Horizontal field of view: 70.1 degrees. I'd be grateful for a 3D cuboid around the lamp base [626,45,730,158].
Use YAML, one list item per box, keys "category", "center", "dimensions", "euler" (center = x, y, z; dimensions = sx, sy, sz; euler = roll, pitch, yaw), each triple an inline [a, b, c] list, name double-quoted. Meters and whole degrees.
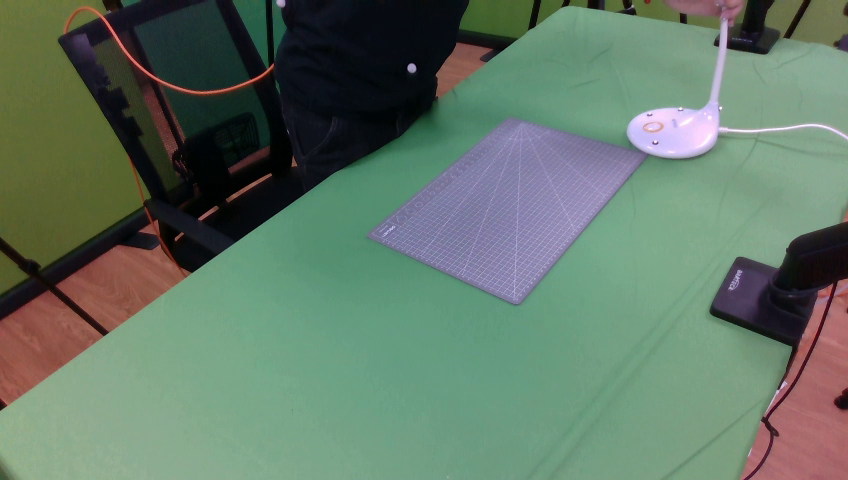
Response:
- category: "lamp base"
  center: [0.468, -0.262, 1.085]
  dimensions: [0.179, 0.181, 0.159]
  euler: [-4, 41, 0]
